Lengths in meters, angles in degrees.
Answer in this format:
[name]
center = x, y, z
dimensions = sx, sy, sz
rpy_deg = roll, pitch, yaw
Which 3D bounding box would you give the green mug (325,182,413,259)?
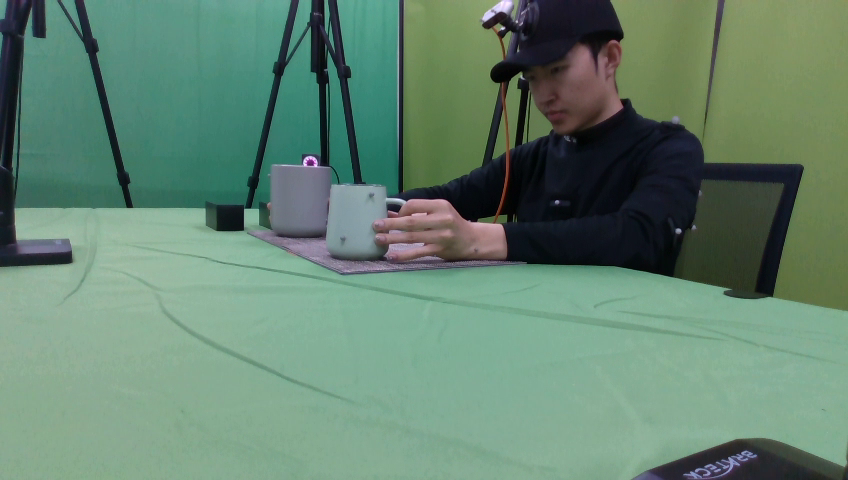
[green mug]
center = -0.078, -0.028, 0.869
dimensions = 0.125, 0.105, 0.092
rpy_deg = 2, 7, 3

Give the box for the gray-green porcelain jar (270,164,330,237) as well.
[gray-green porcelain jar]
center = -0.223, -0.073, 1.091
dimensions = 0.106, 0.126, 0.106
rpy_deg = 2, 8, 0
